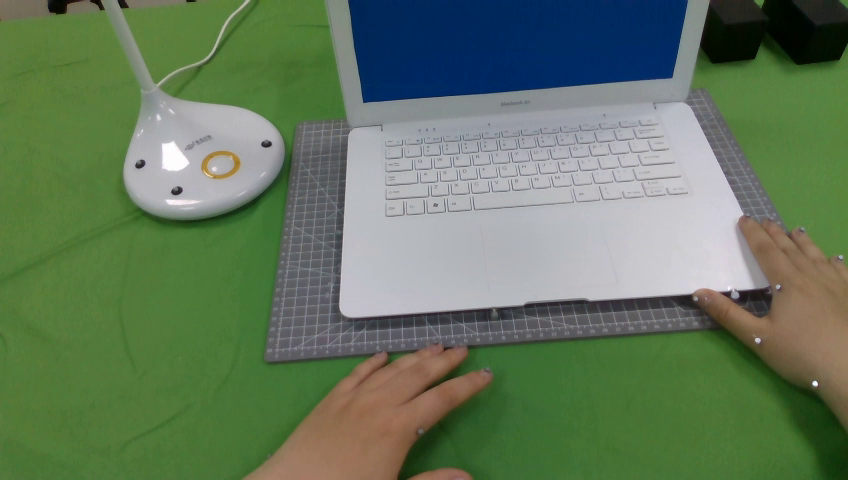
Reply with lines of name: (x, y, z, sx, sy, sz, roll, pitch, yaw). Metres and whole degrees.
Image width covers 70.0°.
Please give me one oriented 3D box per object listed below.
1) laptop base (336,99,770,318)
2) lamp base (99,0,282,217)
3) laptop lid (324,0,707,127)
laptop base: (0.099, -0.037, 0.561, 0.354, 0.023, 0.233, -4, 54, 1)
lamp base: (-0.241, -0.139, 0.566, 0.178, 0.182, 0.160, 27, 57, 27)
laptop lid: (0.086, -0.216, 0.556, 0.357, 0.244, 0.013, -6, 42, 2)
